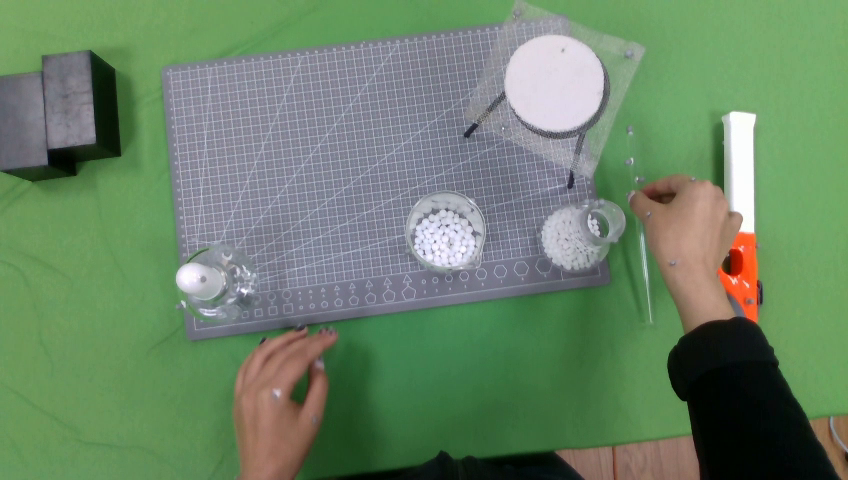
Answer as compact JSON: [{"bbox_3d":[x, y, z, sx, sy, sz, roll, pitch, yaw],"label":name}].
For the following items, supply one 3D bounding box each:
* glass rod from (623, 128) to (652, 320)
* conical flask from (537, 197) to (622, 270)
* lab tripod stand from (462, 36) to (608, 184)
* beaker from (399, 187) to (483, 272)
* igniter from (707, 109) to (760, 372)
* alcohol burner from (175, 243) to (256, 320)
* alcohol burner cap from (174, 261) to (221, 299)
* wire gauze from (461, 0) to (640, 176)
[{"bbox_3d":[0.219,-0.015,0.623,0.008,0.008,0.200,-9,94,-1],"label":"glass rod"},{"bbox_3d":[0.156,-0.012,0.587,0.075,0.122,0.075,0,84,0],"label":"conical flask"},{"bbox_3d":[0.113,-0.127,0.593,0.148,0.131,0.148,0,86,2],"label":"lab tripod stand"},{"bbox_3d":[0.019,-0.004,0.598,0.074,0.100,0.084,-43,86,-4],"label":"beaker"},{"bbox_3d":[0.325,-0.001,0.637,0.057,0.025,0.276,4,84,-10],"label":"igniter"},{"bbox_3d":[-0.208,0.040,0.587,0.078,0.119,0.077,0,85,1],"label":"alcohol burner"},{"bbox_3d":[-0.208,0.034,0.551,0.034,0.048,0.033,0,77,-2],"label":"alcohol burner cap"},{"bbox_3d":[0.110,-0.136,0.527,0.125,0.011,0.121,24,87,3],"label":"wire gauze"}]
